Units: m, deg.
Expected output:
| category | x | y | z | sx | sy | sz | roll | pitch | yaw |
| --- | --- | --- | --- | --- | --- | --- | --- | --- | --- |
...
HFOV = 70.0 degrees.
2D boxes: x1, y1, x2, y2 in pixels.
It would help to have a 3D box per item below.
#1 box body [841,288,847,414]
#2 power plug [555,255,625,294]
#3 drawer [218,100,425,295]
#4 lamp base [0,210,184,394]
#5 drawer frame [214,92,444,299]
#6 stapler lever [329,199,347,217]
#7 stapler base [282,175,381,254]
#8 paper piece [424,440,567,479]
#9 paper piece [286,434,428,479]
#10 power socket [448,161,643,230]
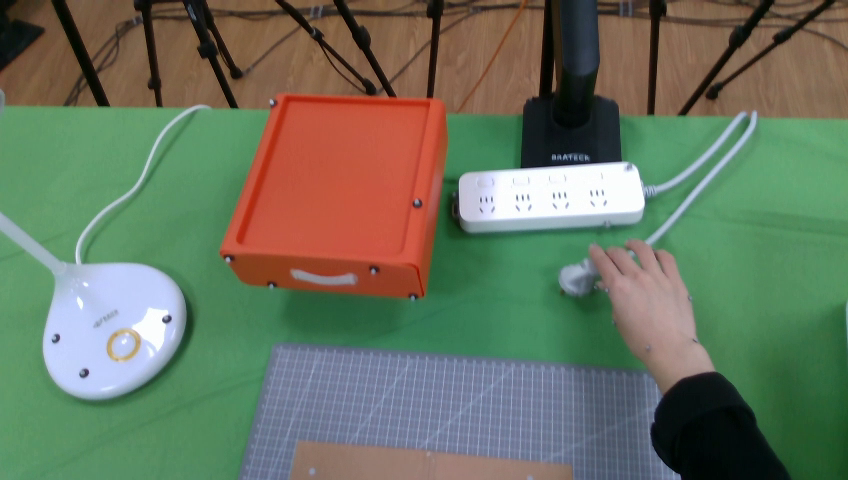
| category | x | y | z | sx | sy | sz | roll | pitch | yaw |
| --- | --- | --- | --- | --- | --- | --- | --- | --- | --- |
| box body | 0.490 | 0.173 | 0.459 | 0.253 | 0.162 | 0.361 | 10 | 61 | 12 |
| power plug | 0.175 | 0.040 | 0.647 | 0.073 | 0.053 | 0.035 | 6 | 54 | -13 |
| drawer | -0.090 | -0.051 | 0.654 | 0.194 | 0.074 | 0.210 | 4 | 59 | 9 |
| lamp base | -0.367 | 0.048 | 0.619 | 0.177 | 0.182 | 0.160 | 33 | 68 | 26 |
| drawer frame | -0.091 | -0.054 | 0.655 | 0.201 | 0.083 | 0.212 | 3 | 59 | 9 |
| stapler lever | -0.116 | -0.040 | 0.641 | 0.117 | 0.040 | 0.027 | 32 | 84 | 27 |
| stapler base | -0.106 | -0.031 | 0.664 | 0.129 | 0.024 | 0.041 | 32 | 84 | 25 |
| paper piece | 0.060 | 0.256 | 0.545 | 0.135 | 0.004 | 0.134 | 4 | 60 | 9 |
| paper piece | -0.070 | 0.253 | 0.564 | 0.136 | 0.009 | 0.137 | 1 | 61 | 11 |
| power socket | 0.140 | -0.052 | 0.708 | 0.226 | 0.033 | 0.071 | -3 | 60 | 5 |
